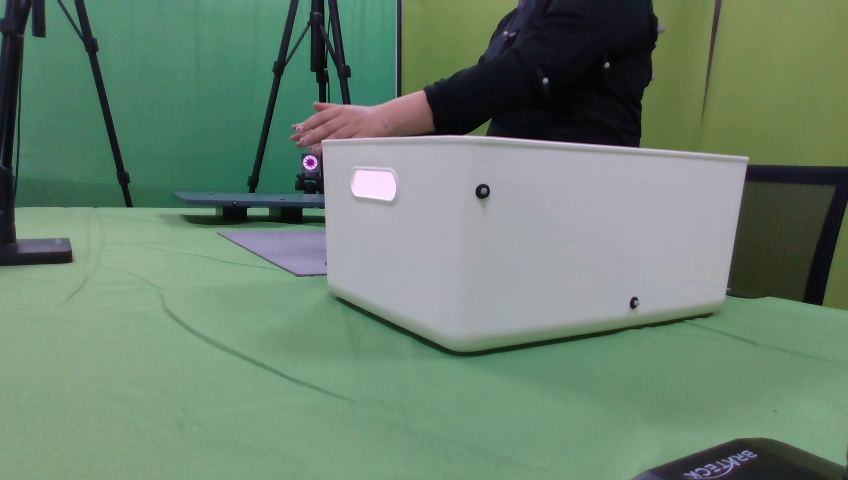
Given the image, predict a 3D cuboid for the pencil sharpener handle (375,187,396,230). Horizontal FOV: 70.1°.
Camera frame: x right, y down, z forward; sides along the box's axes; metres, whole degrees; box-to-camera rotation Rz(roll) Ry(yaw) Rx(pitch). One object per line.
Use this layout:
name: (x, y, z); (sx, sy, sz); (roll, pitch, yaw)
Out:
pencil sharpener handle: (-0.058, -0.049, 0.956); (0.031, 0.067, 0.036); (0, 8, -30)

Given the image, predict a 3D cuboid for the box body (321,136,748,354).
box body: (0.105, -0.012, 0.604); (0.366, 0.160, 0.253); (-2, 8, -33)

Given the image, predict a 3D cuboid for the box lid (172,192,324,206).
box lid: (-0.355, -0.091, 1.350); (0.373, 0.015, 0.262); (-1, 8, -29)

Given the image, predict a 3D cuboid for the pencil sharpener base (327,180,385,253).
pencil sharpener base: (-0.103, -0.037, 0.932); (0.077, 0.107, 0.061); (0, 7, -30)
